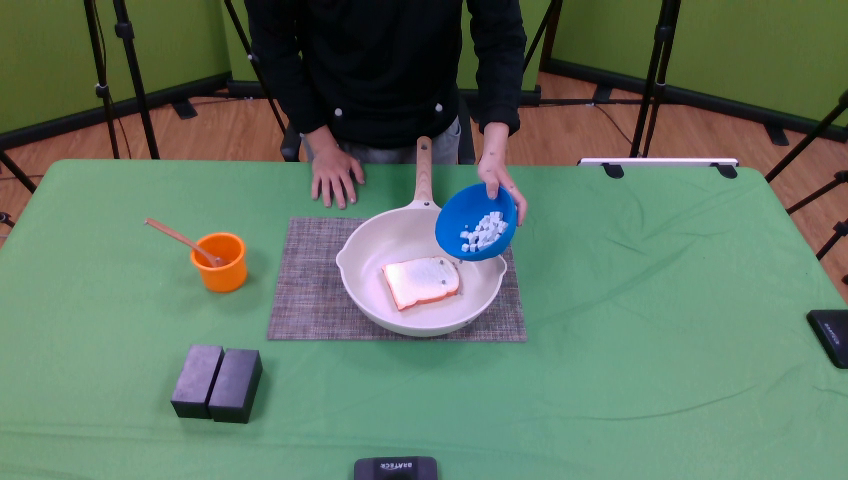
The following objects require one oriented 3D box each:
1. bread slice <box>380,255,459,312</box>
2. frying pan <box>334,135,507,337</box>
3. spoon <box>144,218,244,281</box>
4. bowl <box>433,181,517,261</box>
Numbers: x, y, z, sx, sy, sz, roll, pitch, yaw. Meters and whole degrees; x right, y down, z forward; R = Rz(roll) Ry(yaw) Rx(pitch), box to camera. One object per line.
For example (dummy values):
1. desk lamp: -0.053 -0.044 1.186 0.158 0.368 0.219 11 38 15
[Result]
1. bread slice: -0.005 0.074 1.119 0.134 0.018 0.106 -16 50 -16
2. frying pan: -0.004 -0.026 1.160 0.307 0.103 0.485 4 55 -2
3. spoon: -0.401 0.015 1.064 0.195 0.021 0.041 41 36 -29
4. bowl: 0.100 -0.019 1.051 0.151 0.077 0.150 -18 50 23
